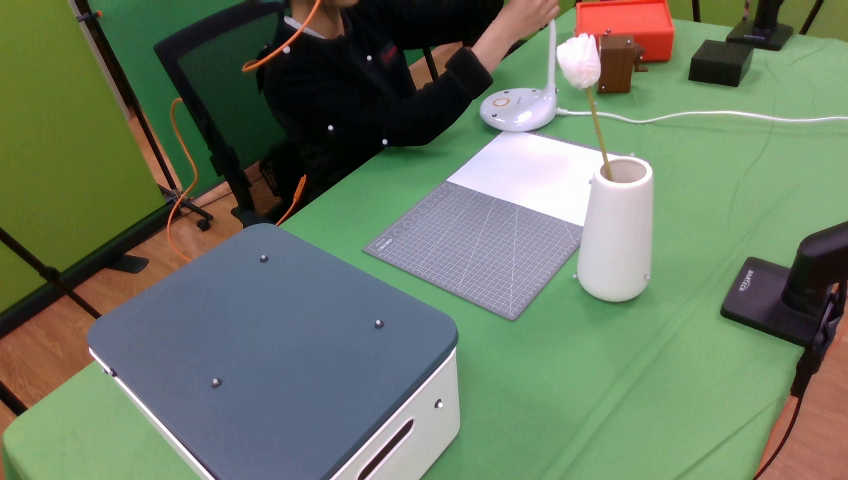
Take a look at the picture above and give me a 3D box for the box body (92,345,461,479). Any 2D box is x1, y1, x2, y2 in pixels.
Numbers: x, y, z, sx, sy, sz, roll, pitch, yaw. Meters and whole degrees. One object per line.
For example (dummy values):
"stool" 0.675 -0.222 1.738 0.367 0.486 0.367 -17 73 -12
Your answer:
"box body" -0.162 0.170 0.708 0.361 0.161 0.255 25 50 34

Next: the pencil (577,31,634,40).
"pencil" 0.430 -0.487 1.443 0.012 0.012 0.192 -25 30 -18

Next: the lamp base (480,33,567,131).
"lamp base" 0.204 -0.332 1.216 0.179 0.181 0.160 4 42 7

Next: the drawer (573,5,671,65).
"drawer" 0.461 -0.489 1.435 0.211 0.073 0.194 2 41 11

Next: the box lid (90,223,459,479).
"box lid" -0.174 0.102 0.666 0.368 0.015 0.264 24 48 35

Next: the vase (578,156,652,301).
"vase" 0.261 -0.011 0.812 0.098 0.201 0.097 -4 40 4

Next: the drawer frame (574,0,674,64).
"drawer frame" 0.464 -0.492 1.434 0.213 0.083 0.201 1 40 12

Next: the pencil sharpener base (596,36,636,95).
"pencil sharpener base" 0.406 -0.369 1.280 0.076 0.107 0.061 1 41 13

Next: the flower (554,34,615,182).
"flower" 0.237 -0.083 0.774 0.044 0.363 0.038 -22 26 7

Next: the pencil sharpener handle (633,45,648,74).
"pencil sharpener handle" 0.454 -0.378 1.262 0.030 0.068 0.036 1 47 13
